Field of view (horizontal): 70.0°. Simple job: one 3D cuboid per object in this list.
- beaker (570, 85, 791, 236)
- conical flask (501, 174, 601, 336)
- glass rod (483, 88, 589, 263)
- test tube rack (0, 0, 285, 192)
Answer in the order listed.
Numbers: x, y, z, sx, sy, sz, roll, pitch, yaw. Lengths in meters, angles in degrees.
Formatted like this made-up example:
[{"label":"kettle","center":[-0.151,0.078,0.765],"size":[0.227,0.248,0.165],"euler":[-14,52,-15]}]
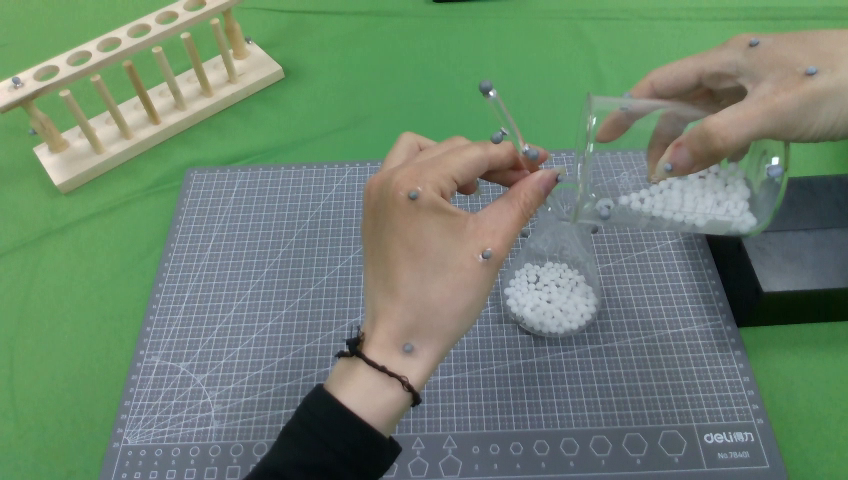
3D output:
[{"label":"beaker","center":[0.135,-0.039,0.333],"size":[0.100,0.085,0.073],"euler":[6,58,10]},{"label":"conical flask","center":[0.093,0.009,0.419],"size":[0.075,0.123,0.074],"euler":[-2,54,3]},{"label":"glass rod","center":[0.072,-0.026,0.352],"size":[0.008,0.202,0.008],"euler":[-12,61,23]},{"label":"test tube rack","center":[-0.263,-0.153,0.583],"size":[0.242,0.086,0.066],"euler":[-35,59,-20]}]
